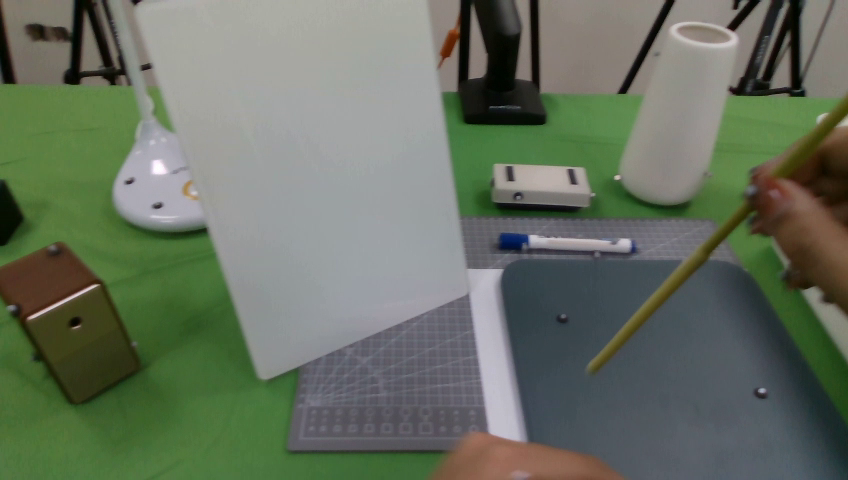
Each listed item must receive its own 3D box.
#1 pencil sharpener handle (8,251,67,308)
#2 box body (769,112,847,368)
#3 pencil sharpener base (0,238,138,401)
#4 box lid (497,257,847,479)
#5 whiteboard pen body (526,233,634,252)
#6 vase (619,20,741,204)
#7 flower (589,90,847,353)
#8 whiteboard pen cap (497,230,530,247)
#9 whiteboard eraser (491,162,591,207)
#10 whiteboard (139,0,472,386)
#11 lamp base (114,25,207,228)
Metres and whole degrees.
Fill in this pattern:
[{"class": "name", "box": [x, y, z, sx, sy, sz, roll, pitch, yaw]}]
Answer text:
[{"class": "pencil sharpener handle", "box": [-0.325, 0.030, 0.508, 0.030, 0.068, 0.036, 32, 57, 31]}, {"class": "box body", "box": [0.496, 0.051, 0.505, 0.254, 0.162, 0.360, 1, 40, -1]}, {"class": "pencil sharpener base", "box": [-0.290, 0.064, 0.489, 0.076, 0.108, 0.061, 32, 49, 31]}, {"class": "box lid", "box": [0.207, 0.141, 0.497, 0.263, 0.015, 0.367, 0, 41, -2]}, {"class": "whiteboard pen body", "box": [0.156, 0.002, 0.653, 0.141, 0.017, 0.017, 3, 40, 0]}, {"class": "vase", "box": [0.291, -0.139, 0.689, 0.098, 0.201, 0.097, 2, 40, -2]}, {"class": "flower", "box": [0.123, -0.015, 0.229, 0.038, 0.364, 0.043, -31, 69, -19]}, {"class": "whiteboard pen cap", "box": [0.096, -0.001, 0.652, 0.033, 0.018, 0.018, 5, 40, -1]}, {"class": "whiteboard eraser", "box": [0.136, -0.064, 0.714, 0.113, 0.042, 0.055, 1, 38, 0]}, {"class": "whiteboard", "box": [-0.100, -0.069, 0.546, 0.218, 0.307, 0.142, -20, 26, -23]}, {"class": "lamp base", "box": [-0.281, -0.131, 0.662, 0.177, 0.182, 0.160, 28, 47, 30]}]
